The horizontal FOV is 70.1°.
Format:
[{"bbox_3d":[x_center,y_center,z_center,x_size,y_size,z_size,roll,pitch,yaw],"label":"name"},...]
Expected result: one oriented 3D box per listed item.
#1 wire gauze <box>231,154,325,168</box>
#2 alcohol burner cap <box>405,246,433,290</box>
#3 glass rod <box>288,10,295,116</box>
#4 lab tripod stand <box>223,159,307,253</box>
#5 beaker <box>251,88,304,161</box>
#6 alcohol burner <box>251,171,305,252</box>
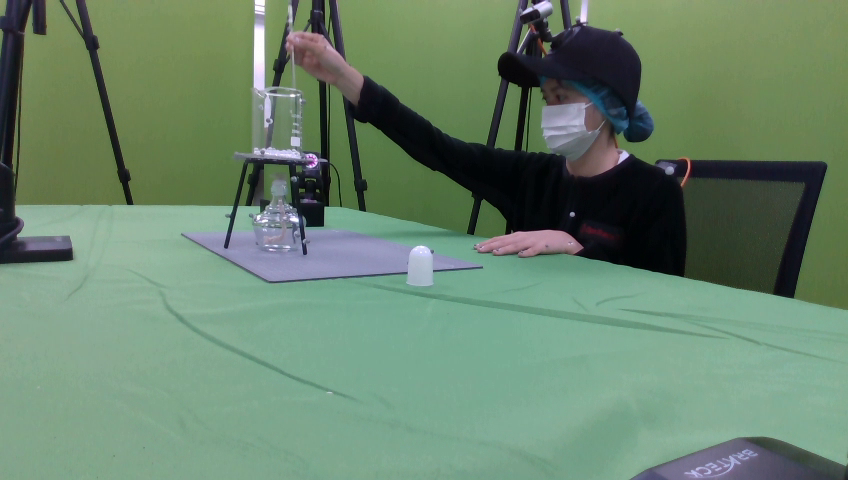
[{"bbox_3d":[-0.215,-0.117,0.882,0.125,0.011,0.121,3,7,-19],"label":"wire gauze"},{"bbox_3d":[-0.005,0.031,0.698,0.034,0.048,0.034,3,8,0],"label":"alcohol burner cap"},{"bbox_3d":[-0.243,-0.324,1.105,0.008,0.199,0.008,-3,-4,0],"label":"glass rod"},{"bbox_3d":[-0.220,-0.053,0.896,0.148,0.131,0.148,1,6,0],"label":"lab tripod stand"},{"bbox_3d":[-0.214,-0.165,0.874,0.074,0.100,0.084,4,6,16],"label":"beaker"},{"bbox_3d":[-0.214,-0.042,0.888,0.078,0.119,0.078,2,9,0],"label":"alcohol burner"}]
